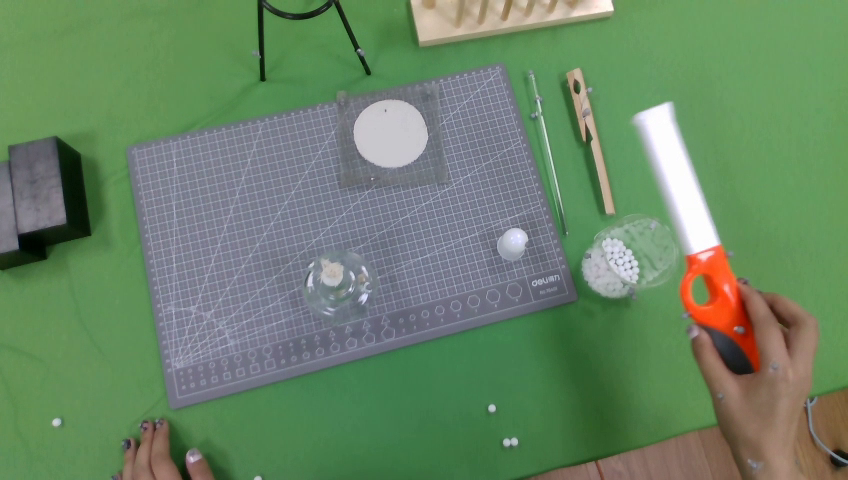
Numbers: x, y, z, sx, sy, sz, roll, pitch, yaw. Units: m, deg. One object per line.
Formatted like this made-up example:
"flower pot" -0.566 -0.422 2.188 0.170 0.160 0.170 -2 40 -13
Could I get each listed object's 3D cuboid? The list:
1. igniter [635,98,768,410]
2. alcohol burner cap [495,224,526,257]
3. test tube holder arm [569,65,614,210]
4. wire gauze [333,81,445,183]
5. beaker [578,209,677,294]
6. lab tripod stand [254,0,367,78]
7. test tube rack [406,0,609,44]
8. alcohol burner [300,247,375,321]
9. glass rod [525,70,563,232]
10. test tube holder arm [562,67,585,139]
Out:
"igniter" 0.242 0.014 0.525 0.057 0.025 0.276 -19 92 -2
"alcohol burner cap" 0.096 -0.002 0.663 0.034 0.048 0.033 0 77 -1
"test tube holder arm" 0.195 -0.121 0.707 0.013 0.015 0.177 -19 78 28
"wire gauze" -0.042 -0.125 0.703 0.125 0.011 0.121 -3 79 -4
"beaker" 0.206 0.016 0.638 0.084 0.100 0.073 17 77 3
"lab tripod stand" -0.134 -0.246 0.665 0.148 0.132 0.147 0 79 -2
"test tube rack" 0.103 -0.301 0.710 0.242 0.085 0.066 -11 78 -4
"alcohol burner" -0.089 0.041 0.610 0.078 0.119 0.077 0 76 0
"glass rod" 0.140 -0.106 0.708 0.008 0.008 0.199 -9 80 -4
"test tube holder arm" 0.181 -0.162 0.718 0.010 0.015 0.087 -18 78 28
